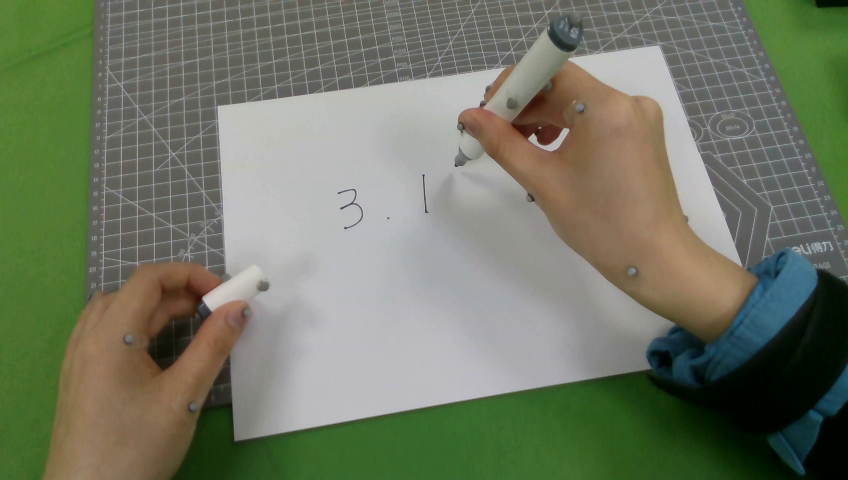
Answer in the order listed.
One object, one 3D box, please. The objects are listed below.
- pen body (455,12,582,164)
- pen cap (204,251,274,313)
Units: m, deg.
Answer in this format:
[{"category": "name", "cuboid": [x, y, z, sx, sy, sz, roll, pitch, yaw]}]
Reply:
[{"category": "pen body", "cuboid": [0.039, -0.066, 0.306, 0.017, 0.144, 0.017, 4, 75, -15]}, {"category": "pen cap", "cuboid": [-0.098, 0.023, 0.320, 0.038, 0.017, 0.017, -36, 71, 10]}]
